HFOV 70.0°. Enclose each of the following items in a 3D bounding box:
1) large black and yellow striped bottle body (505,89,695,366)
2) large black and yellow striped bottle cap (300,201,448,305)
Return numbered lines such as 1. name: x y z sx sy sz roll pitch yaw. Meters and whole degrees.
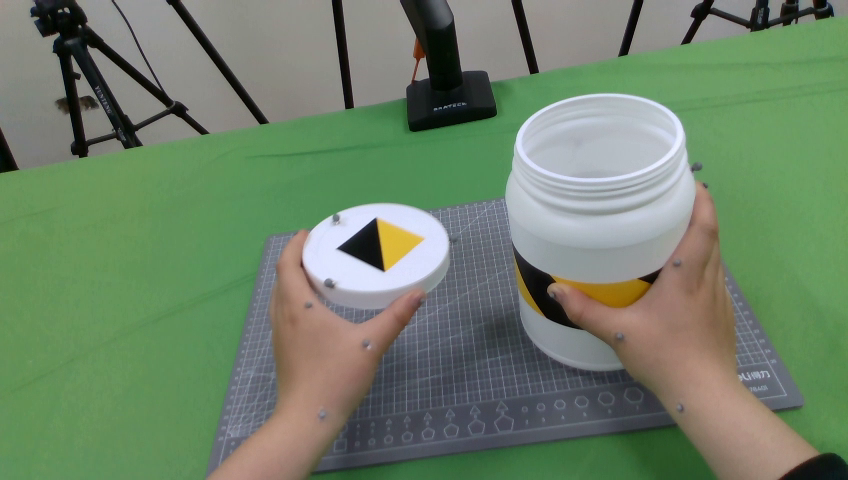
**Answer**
1. large black and yellow striped bottle body: 0.132 -0.007 0.462 0.130 0.186 0.129 -8 41 7
2. large black and yellow striped bottle cap: -0.038 0.006 0.474 0.115 0.019 0.114 0 37 0
